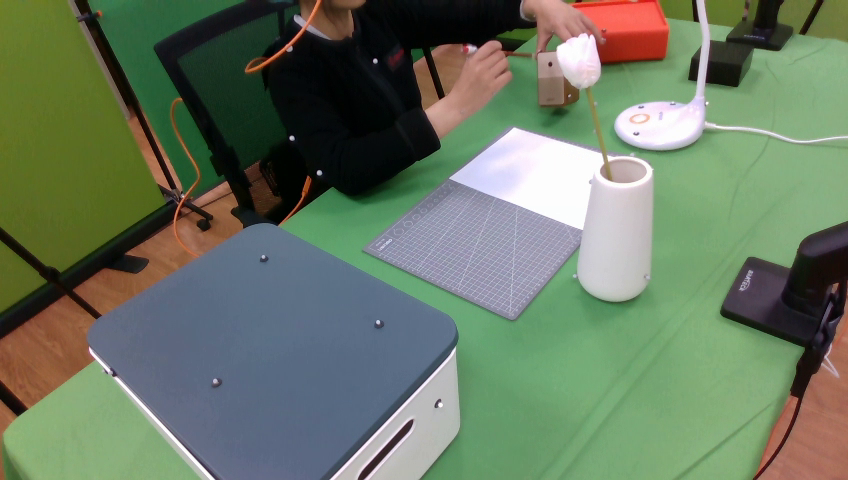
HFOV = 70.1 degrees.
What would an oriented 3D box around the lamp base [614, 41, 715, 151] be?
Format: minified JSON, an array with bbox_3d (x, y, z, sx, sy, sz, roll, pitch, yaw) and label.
[{"bbox_3d":[0.449,-0.277,1.106,0.179,0.181,0.160,1,41,9],"label":"lamp base"}]

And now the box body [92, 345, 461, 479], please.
[{"bbox_3d":[-0.162,0.170,0.708,0.361,0.161,0.255,25,50,34],"label":"box body"}]

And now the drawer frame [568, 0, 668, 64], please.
[{"bbox_3d":[0.450,-0.496,1.441,0.213,0.083,0.201,-1,40,9],"label":"drawer frame"}]

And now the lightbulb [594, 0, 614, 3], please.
[{"bbox_3d":[0.305,-0.437,0.977,0.060,0.107,0.059,12,45,-11],"label":"lightbulb"}]

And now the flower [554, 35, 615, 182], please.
[{"bbox_3d":[0.237,-0.083,0.774,0.044,0.363,0.038,-22,26,6],"label":"flower"}]

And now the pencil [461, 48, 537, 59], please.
[{"bbox_3d":[0.142,-0.338,1.105,0.195,0.012,0.012,-9,33,-38],"label":"pencil"}]

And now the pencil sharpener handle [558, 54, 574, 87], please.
[{"bbox_3d":[0.302,-0.355,1.263,0.035,0.068,0.031,10,23,35],"label":"pencil sharpener handle"}]

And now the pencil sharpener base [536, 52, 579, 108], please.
[{"bbox_3d":[0.273,-0.328,1.228,0.061,0.107,0.077,7,22,36],"label":"pencil sharpener base"}]

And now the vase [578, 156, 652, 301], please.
[{"bbox_3d":[0.261,-0.011,0.812,0.098,0.201,0.097,-4,40,4],"label":"vase"}]

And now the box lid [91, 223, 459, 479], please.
[{"bbox_3d":[-0.174,0.102,0.666,0.368,0.015,0.264,24,49,35],"label":"box lid"}]

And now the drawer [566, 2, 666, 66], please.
[{"bbox_3d":[0.447,-0.494,1.439,0.211,0.073,0.194,-1,40,10],"label":"drawer"}]

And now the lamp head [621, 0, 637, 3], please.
[{"bbox_3d":[0.319,-0.453,0.962,0.113,0.123,0.112,20,33,-13],"label":"lamp head"}]
